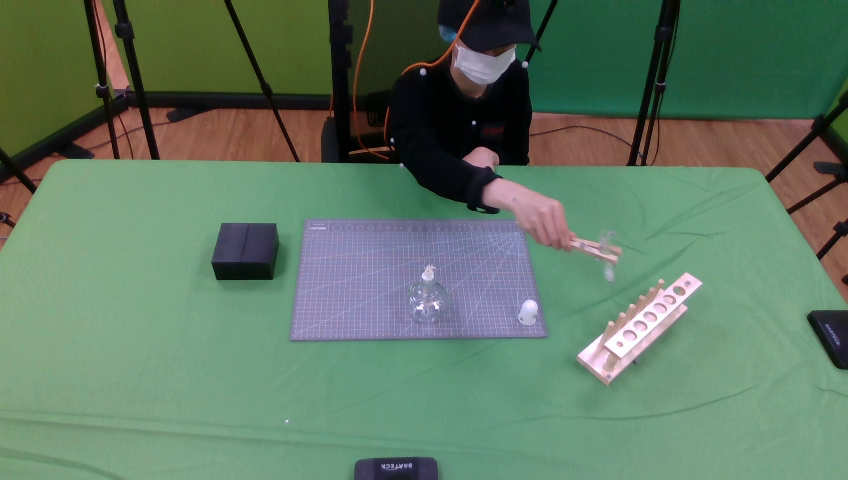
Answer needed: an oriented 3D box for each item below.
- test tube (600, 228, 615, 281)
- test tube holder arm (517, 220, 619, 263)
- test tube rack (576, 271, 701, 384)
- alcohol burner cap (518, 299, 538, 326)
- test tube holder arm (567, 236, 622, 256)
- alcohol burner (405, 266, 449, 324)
[{"bbox_3d":[0.287,0.026,0.947,0.017,0.151,0.017,-9,57,15],"label":"test tube"},{"bbox_3d":[0.226,0.000,0.970,0.177,0.015,0.013,22,69,32],"label":"test tube holder arm"},{"bbox_3d":[0.373,0.138,1.047,0.242,0.085,0.066,-31,55,-29],"label":"test tube rack"},{"bbox_3d":[0.186,0.126,1.072,0.034,0.048,0.033,1,45,-1],"label":"alcohol burner cap"},{"bbox_3d":[0.265,0.008,0.949,0.087,0.015,0.010,13,65,29],"label":"test tube holder arm"},{"bbox_3d":[0.005,0.089,1.044,0.078,0.120,0.077,1,44,-1],"label":"alcohol burner"}]
